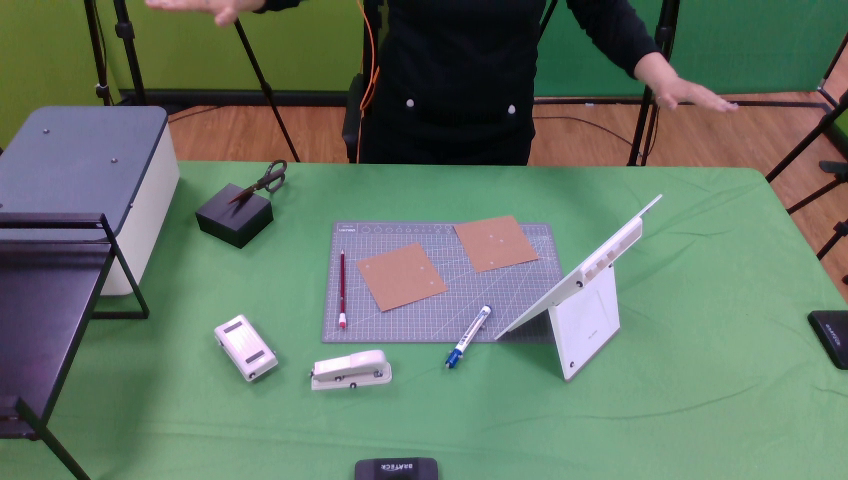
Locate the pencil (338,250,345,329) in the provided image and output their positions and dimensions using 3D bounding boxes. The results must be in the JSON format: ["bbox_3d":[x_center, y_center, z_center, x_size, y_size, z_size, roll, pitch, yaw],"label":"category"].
[{"bbox_3d":[-0.152,0.085,1.108,0.012,0.012,0.192,-2,44,-7],"label":"pencil"}]

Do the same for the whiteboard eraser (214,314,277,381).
[{"bbox_3d":[-0.292,0.176,0.990,0.055,0.042,0.112,-30,55,-31],"label":"whiteboard eraser"}]

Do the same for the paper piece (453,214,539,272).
[{"bbox_3d":[0.142,0.003,1.213,0.135,0.004,0.135,-11,47,-14],"label":"paper piece"}]

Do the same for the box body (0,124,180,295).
[{"bbox_3d":[-0.628,-0.075,1.122,0.254,0.161,0.361,1,46,-4],"label":"box body"}]

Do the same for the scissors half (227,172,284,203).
[{"bbox_3d":[-0.339,-0.101,1.230,0.013,0.040,0.175,21,28,17],"label":"scissors half"}]

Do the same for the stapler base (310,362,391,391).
[{"bbox_3d":[-0.119,0.215,0.981,0.131,0.024,0.041,-5,44,-7],"label":"stapler base"}]

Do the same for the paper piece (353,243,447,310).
[{"bbox_3d":[-0.045,0.066,1.137,0.136,0.009,0.137,-13,46,-23],"label":"paper piece"}]

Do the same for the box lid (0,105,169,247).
[{"bbox_3d":[-0.624,-0.125,1.067,0.263,0.015,0.369,0,46,-3],"label":"box lid"}]

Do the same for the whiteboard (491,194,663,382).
[{"bbox_3d":[0.280,0.100,0.969,0.217,0.306,0.143,-33,77,-31],"label":"whiteboard"}]

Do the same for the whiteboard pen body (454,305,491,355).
[{"bbox_3d":[0.079,0.163,1.047,0.017,0.017,0.140,25,50,19],"label":"whiteboard pen body"}]

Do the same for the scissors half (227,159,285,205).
[{"bbox_3d":[-0.336,-0.117,1.218,0.013,0.040,0.175,25,46,14],"label":"scissors half"}]

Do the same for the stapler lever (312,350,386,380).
[{"bbox_3d":[-0.120,0.198,0.963,0.118,0.040,0.026,-4,44,-8],"label":"stapler lever"}]

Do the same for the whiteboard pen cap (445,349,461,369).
[{"bbox_3d":[0.049,0.197,1.011,0.018,0.018,0.033,24,49,18],"label":"whiteboard pen cap"}]
